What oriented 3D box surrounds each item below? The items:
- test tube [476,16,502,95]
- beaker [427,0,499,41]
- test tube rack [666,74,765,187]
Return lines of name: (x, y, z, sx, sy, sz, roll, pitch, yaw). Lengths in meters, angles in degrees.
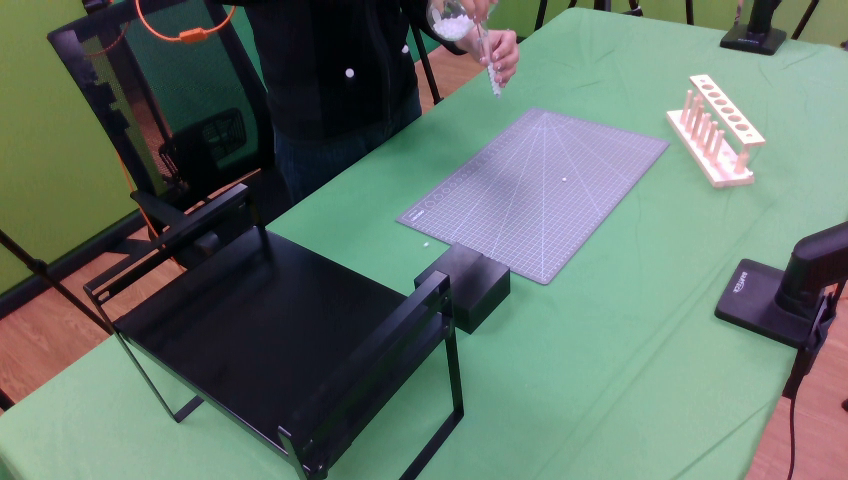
test tube: (0.107, -0.295, 0.982, 0.017, 0.151, 0.017, -9, 53, 13)
beaker: (0.056, -0.337, 0.872, 0.073, 0.084, 0.100, 14, 47, 30)
test tube rack: (0.512, -0.201, 1.082, 0.067, 0.085, 0.241, -6, 41, 2)
